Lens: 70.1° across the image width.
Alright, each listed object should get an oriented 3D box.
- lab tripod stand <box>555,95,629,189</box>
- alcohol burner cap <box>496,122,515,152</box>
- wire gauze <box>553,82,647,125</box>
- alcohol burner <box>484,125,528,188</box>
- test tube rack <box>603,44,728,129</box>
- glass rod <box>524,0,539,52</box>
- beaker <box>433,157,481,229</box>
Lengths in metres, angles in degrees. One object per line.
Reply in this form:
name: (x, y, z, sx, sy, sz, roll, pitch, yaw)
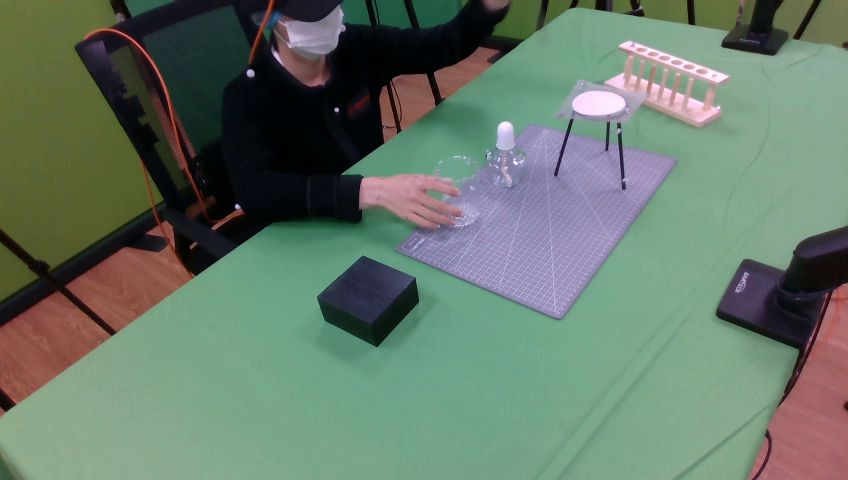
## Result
lab tripod stand: (0.301, -0.174, 1.045, 0.148, 0.132, 0.147, -5, 38, 5)
alcohol burner cap: (0.139, -0.179, 1.037, 0.034, 0.048, 0.033, -4, 44, 5)
wire gauze: (0.293, -0.225, 1.002, 0.120, 0.011, 0.125, 17, 45, 27)
alcohol burner: (0.144, -0.152, 1.059, 0.078, 0.119, 0.077, -3, 41, 3)
test tube rack: (0.480, -0.316, 1.227, 0.067, 0.085, 0.240, -28, 44, -22)
glass rod: (0.161, -0.400, 0.970, 0.008, 0.200, 0.008, -16, 28, 9)
beaker: (0.058, -0.077, 0.994, 0.073, 0.101, 0.084, 20, 46, 29)
